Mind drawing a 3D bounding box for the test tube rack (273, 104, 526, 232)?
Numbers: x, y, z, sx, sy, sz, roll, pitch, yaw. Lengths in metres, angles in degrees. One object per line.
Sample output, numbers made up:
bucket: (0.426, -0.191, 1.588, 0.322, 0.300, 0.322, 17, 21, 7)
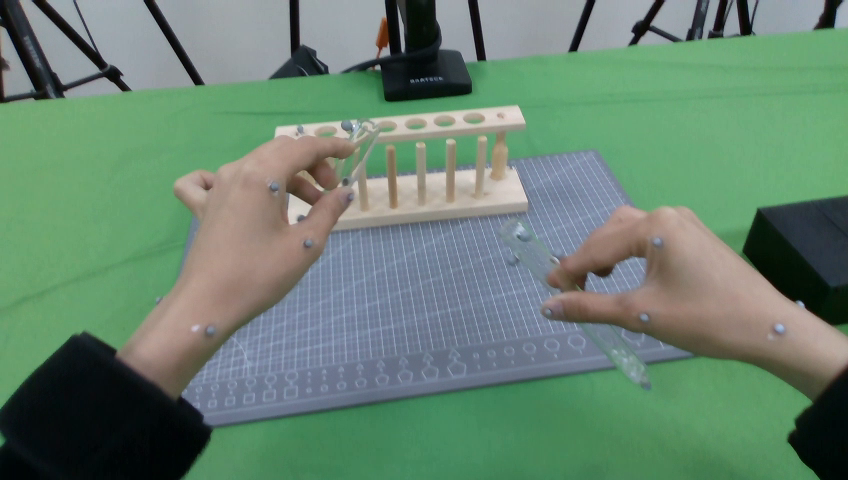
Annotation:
test tube rack: (-0.021, -0.073, 0.606, 0.242, 0.086, 0.066, -6, 41, -3)

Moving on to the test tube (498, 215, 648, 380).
test tube: (0.093, 0.039, 0.363, 0.017, 0.151, 0.017, -34, 27, 20)

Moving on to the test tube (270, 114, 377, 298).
test tube: (-0.069, -0.016, 0.393, 0.017, 0.151, 0.017, 24, 30, -15)
